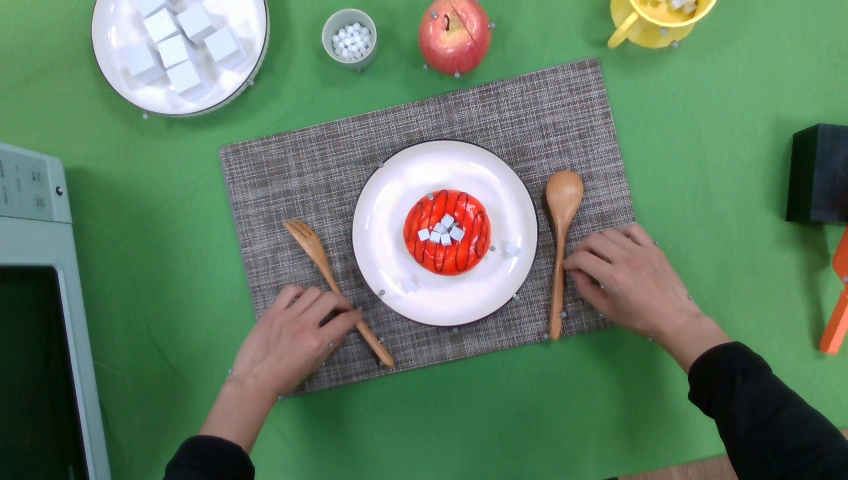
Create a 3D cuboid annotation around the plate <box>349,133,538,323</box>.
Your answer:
[{"bbox_3d":[0.021,-0.013,0.677,0.209,0.038,0.209,0,89,4],"label":"plate"}]

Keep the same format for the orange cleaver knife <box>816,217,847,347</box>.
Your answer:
[{"bbox_3d":[0.447,0.015,0.630,0.012,0.076,0.213,7,121,6],"label":"orange cleaver knife"}]

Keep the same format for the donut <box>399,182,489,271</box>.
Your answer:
[{"bbox_3d":[0.023,-0.014,0.666,0.099,0.048,0.099,0,91,5],"label":"donut"}]

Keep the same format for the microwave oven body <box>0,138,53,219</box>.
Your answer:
[{"bbox_3d":[-0.553,0.134,0.598,0.326,0.260,0.441,-10,89,3],"label":"microwave oven body"}]

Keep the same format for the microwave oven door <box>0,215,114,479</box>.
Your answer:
[{"bbox_3d":[-0.403,0.150,0.584,0.039,0.244,0.355,-11,88,3],"label":"microwave oven door"}]

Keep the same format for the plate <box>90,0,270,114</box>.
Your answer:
[{"bbox_3d":[-0.277,-0.247,0.703,0.207,0.039,0.207,0,89,4],"label":"plate"}]

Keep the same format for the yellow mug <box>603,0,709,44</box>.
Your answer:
[{"bbox_3d":[0.245,-0.264,0.658,0.131,0.064,0.100,-45,87,3],"label":"yellow mug"}]

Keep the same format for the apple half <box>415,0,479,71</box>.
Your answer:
[{"bbox_3d":[0.019,-0.221,0.668,0.053,0.074,0.081,-34,90,7],"label":"apple half"}]

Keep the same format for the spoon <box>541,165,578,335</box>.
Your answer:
[{"bbox_3d":[0.151,0.010,0.682,0.041,0.022,0.193,2,89,8],"label":"spoon"}]

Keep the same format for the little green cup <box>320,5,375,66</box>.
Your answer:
[{"bbox_3d":[-0.084,-0.230,0.691,0.061,0.038,0.061,0,89,4],"label":"little green cup"}]

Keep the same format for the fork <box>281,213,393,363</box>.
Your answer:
[{"bbox_3d":[-0.097,0.054,0.692,0.018,0.028,0.207,-33,91,39],"label":"fork"}]

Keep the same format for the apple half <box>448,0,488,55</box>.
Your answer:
[{"bbox_3d":[0.051,-0.243,0.665,0.033,0.081,0.081,-34,87,6],"label":"apple half"}]

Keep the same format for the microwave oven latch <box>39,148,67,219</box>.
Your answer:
[{"bbox_3d":[-0.432,-0.064,0.691,0.030,0.029,0.079,-8,89,3],"label":"microwave oven latch"}]
